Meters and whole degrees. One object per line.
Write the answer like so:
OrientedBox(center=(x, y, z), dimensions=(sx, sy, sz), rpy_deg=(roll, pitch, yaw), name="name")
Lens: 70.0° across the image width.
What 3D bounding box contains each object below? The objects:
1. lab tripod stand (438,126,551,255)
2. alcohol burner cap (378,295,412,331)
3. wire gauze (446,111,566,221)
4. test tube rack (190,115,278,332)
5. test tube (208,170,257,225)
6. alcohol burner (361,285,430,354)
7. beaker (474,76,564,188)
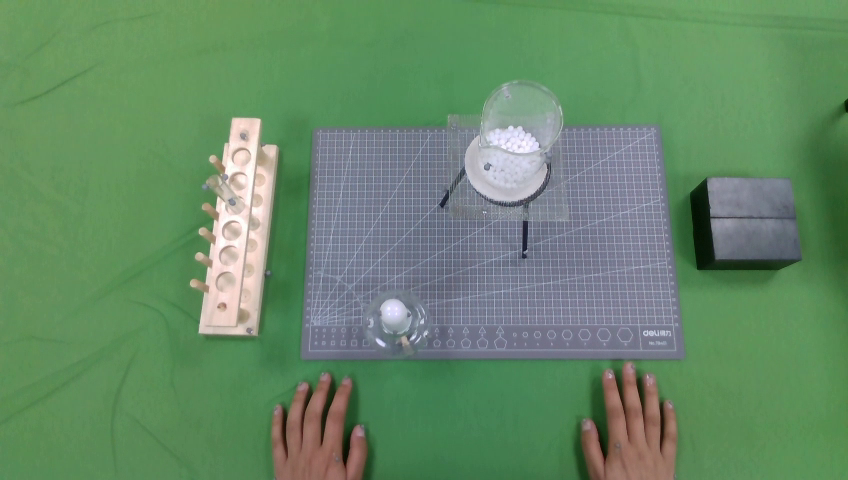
OrientedBox(center=(0.090, -0.066, 0.696), dimensions=(0.148, 0.132, 0.147), rpy_deg=(0, 73, 1), name="lab tripod stand")
OrientedBox(center=(-0.032, 0.075, 0.632), dimensions=(0.034, 0.048, 0.033), rpy_deg=(-2, 71, 5), name="alcohol burner cap")
OrientedBox(center=(0.085, -0.080, 0.632), dimensions=(0.125, 0.011, 0.121), rpy_deg=(1, 75, -2), name="wire gauze")
OrientedBox(center=(-0.227, -0.019, 0.714), dimensions=(0.067, 0.085, 0.241), rpy_deg=(2, 75, 1), name="test tube rack")
OrientedBox(center=(-0.208, -0.043, 0.669), dimensions=(0.017, 0.151, 0.017), rpy_deg=(0, 75, -1), name="test tube")
OrientedBox(center=(-0.032, 0.085, 0.666), dimensions=(0.078, 0.119, 0.077), rpy_deg=(0, 74, -1), name="alcohol burner")
OrientedBox(center=(0.085, -0.097, 0.587), dimensions=(0.084, 0.101, 0.073), rpy_deg=(-33, 77, -9), name="beaker")
